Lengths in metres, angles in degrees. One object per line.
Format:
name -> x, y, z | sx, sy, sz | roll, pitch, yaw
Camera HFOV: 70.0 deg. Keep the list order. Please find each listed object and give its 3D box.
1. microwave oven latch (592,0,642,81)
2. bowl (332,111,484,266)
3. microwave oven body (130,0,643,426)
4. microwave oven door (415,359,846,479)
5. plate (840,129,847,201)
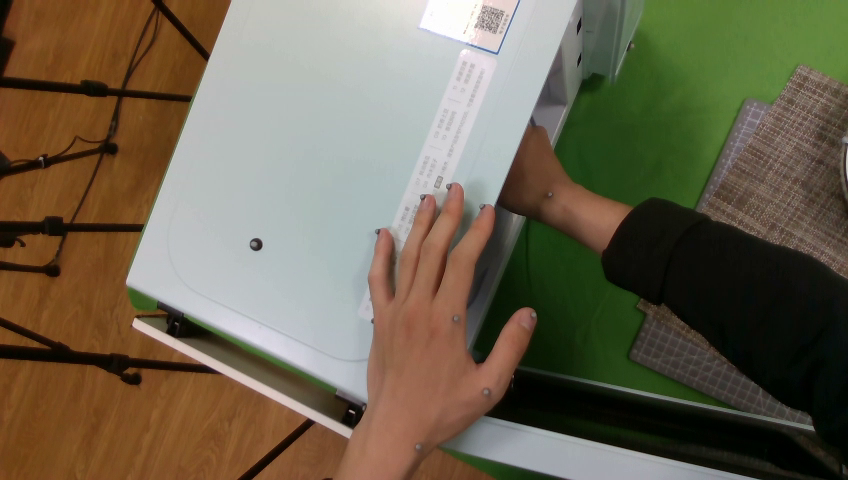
microwave oven latch -> 0.202, -0.210, 0.635 | 0.030, 0.029, 0.079 | 23, 94, 14
bowl -> -0.008, -0.046, 0.613 | 0.151, 0.077, 0.151 | -1, 86, 14
microwave oven body -> -0.021, -0.106, 0.587 | 0.324, 0.261, 0.441 | 22, 93, 14
microwave oven door -> 0.192, 0.168, 0.515 | 0.354, 0.245, 0.039 | 8, 89, 15
plate -> 0.503, -0.069, 0.565 | 0.208, 0.038, 0.208 | -1, 86, 14
